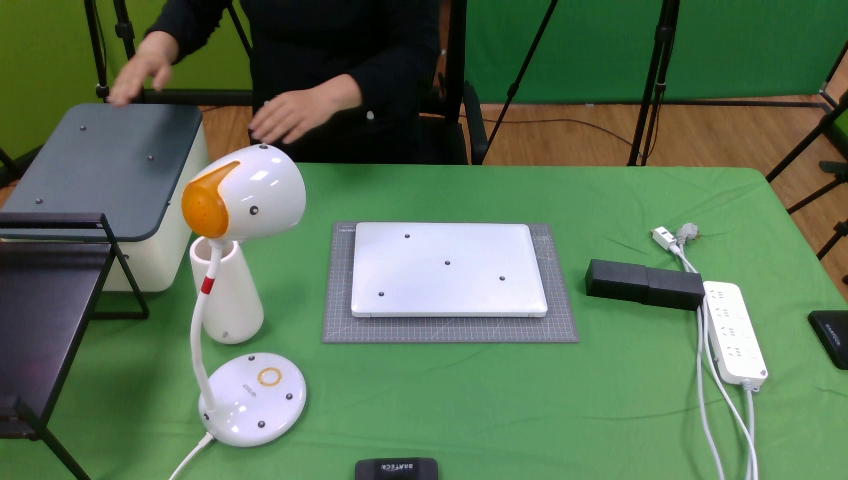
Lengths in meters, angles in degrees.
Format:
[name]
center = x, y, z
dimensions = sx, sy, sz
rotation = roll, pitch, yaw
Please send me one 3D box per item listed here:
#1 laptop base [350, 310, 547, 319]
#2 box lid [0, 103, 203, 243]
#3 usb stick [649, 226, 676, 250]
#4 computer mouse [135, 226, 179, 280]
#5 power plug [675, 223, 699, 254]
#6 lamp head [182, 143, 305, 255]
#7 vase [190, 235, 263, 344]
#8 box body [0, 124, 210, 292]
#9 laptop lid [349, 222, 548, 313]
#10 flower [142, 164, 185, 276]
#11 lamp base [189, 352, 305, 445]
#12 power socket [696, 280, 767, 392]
[laptop base]
center = 0.041, 0.056, 1.149
dimensions = 0.355, 0.023, 0.234
rotation = 0, 43, -4
[box lid]
center = -0.563, -0.132, 1.079
dimensions = 0.263, 0.015, 0.369
rotation = 1, 46, -3
[usb stick]
center = 0.485, -0.008, 1.238
dimensions = 0.021, 0.027, 0.059
rotation = -22, 44, -13
[computer mouse]
center = -0.492, 0.020, 1.118
dimensions = 0.063, 0.041, 0.116
rotation = 1, 54, -10
[power plug]
center = 0.537, 0.000, 1.244
dimensions = 0.053, 0.035, 0.072
rotation = 19, 82, -17
[lamp head]
center = -0.216, -0.044, 0.697
dimensions = 0.112, 0.113, 0.123
rotation = 23, 31, 17
[vase]
center = -0.317, 0.081, 0.971
dimensions = 0.098, 0.201, 0.097
rotation = 3, 47, -3
[box body]
center = -0.568, -0.082, 1.134
dimensions = 0.254, 0.161, 0.361
rotation = 2, 46, -3
[laptop lid]
center = 0.042, 0.046, 1.142
dimensions = 0.357, 0.013, 0.240
rotation = 2, 44, -3
[flower]
center = -0.492, -0.055, 1.173
dimensions = 0.044, 0.038, 0.359
rotation = -39, 34, 18
[lamp base]
center = -0.268, 0.196, 0.876
dimensions = 0.160, 0.181, 0.179
rotation = 25, 52, 20
[power socket]
center = 0.543, 0.160, 1.077
dimensions = 0.072, 0.033, 0.225
rotation = 6, 47, 2
